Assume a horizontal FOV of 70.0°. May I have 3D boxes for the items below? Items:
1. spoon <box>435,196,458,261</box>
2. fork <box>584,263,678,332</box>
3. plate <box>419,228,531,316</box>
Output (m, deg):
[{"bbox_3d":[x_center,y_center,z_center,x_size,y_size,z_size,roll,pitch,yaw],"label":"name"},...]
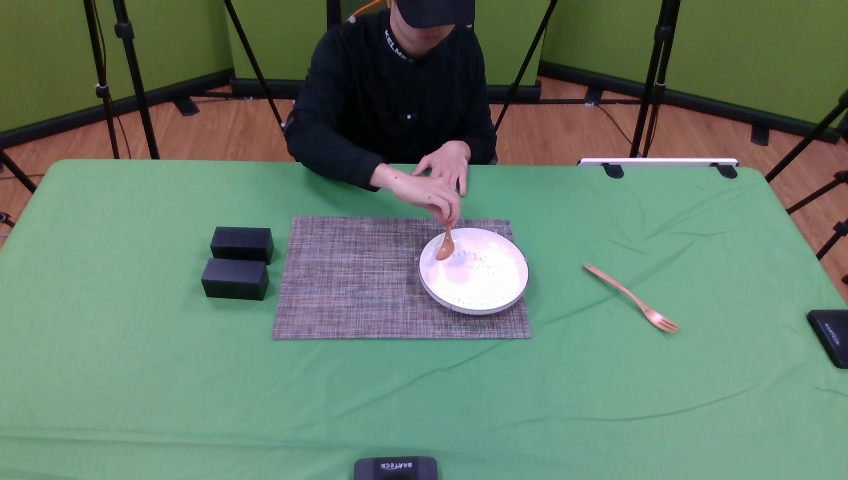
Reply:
[{"bbox_3d":[0.050,-0.027,1.176,0.041,0.022,0.192,-26,35,32],"label":"spoon"},{"bbox_3d":[0.380,0.103,1.130,0.028,0.019,0.206,-34,58,-23],"label":"fork"},{"bbox_3d":[0.093,0.062,1.131,0.208,0.039,0.206,2,46,-2],"label":"plate"}]
